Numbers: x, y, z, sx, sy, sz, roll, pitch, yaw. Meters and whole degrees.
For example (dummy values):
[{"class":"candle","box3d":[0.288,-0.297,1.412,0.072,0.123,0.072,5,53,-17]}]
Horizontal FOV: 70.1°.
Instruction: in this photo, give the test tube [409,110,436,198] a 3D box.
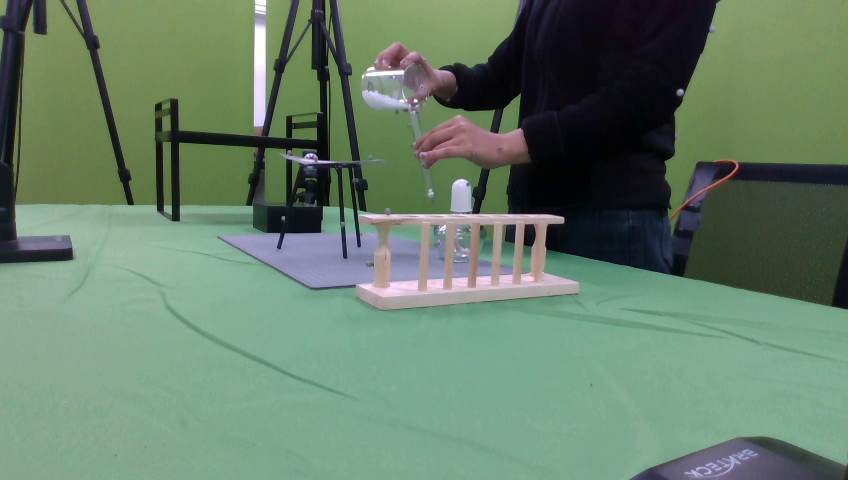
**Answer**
[{"class":"test tube","box3d":[-0.003,-0.141,0.988,0.017,0.150,0.017,-12,-8,-1]}]

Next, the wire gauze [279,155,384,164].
[{"class":"wire gauze","box3d":[-0.134,-0.114,0.875,0.122,0.011,0.124,-1,9,-30]}]

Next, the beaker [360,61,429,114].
[{"class":"beaker","box3d":[-0.052,-0.255,1.022,0.100,0.084,0.074,8,9,37]}]

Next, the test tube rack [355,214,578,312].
[{"class":"test tube rack","box3d":[0.053,0.018,0.640,0.243,0.085,0.066,-1,9,-29]}]

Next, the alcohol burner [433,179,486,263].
[{"class":"alcohol burner","box3d":[0.051,-0.027,0.862,0.078,0.119,0.078,1,6,0]}]

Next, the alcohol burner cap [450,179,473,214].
[{"class":"alcohol burner cap","box3d":[0.053,-0.063,0.859,0.034,0.048,0.034,0,15,0]}]

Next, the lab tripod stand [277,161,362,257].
[{"class":"lab tripod stand","box3d":[-0.142,-0.049,0.884,0.148,0.131,0.148,1,9,0]}]
